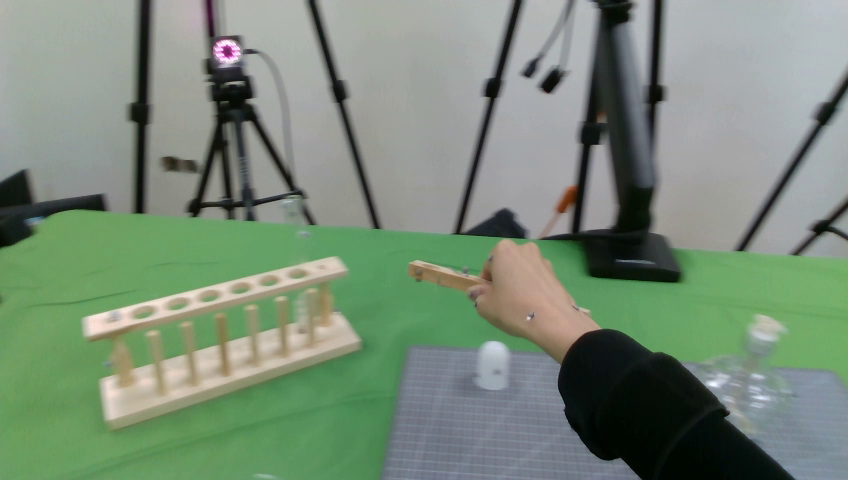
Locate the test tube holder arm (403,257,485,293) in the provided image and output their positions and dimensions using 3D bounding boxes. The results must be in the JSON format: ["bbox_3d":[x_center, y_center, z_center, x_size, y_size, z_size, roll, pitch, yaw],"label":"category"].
[{"bbox_3d":[0.019,0.032,0.561,0.087,0.015,0.010,14,20,29],"label":"test tube holder arm"}]

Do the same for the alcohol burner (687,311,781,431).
[{"bbox_3d":[0.282,0.112,0.544,0.078,0.120,0.077,3,29,-1],"label":"alcohol burner"}]

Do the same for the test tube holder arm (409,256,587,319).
[{"bbox_3d":[0.060,0.040,0.543,0.177,0.015,0.013,14,21,30],"label":"test tube holder arm"}]

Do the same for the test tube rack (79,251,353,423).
[{"bbox_3d":[-0.196,0.089,0.604,0.243,0.086,0.066,-14,32,-27],"label":"test tube rack"}]

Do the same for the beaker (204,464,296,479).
[{"bbox_3d":[-0.113,0.204,0.379,0.084,0.101,0.073,7,29,11],"label":"beaker"}]

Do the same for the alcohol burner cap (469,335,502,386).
[{"bbox_3d":[0.062,0.117,0.601,0.034,0.048,0.033,1,28,0],"label":"alcohol burner cap"}]

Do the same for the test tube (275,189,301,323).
[{"bbox_3d":[-0.139,0.020,0.629,0.017,0.151,0.017,0,24,0],"label":"test tube"}]
